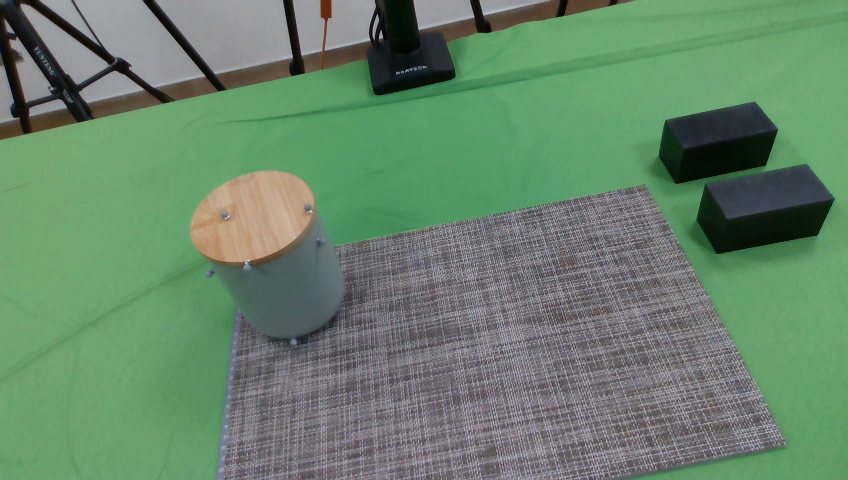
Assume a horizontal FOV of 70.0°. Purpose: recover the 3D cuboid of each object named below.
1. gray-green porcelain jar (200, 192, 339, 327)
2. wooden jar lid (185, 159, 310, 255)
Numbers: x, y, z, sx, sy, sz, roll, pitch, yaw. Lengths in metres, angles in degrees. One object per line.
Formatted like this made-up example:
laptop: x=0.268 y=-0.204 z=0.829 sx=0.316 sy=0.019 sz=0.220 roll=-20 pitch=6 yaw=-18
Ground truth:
gray-green porcelain jar: x=-0.142 y=0.013 z=0.576 sx=0.106 sy=0.128 sz=0.105 roll=-5 pitch=49 yaw=6
wooden jar lid: x=-0.152 y=-0.027 z=0.530 sx=0.108 sy=0.021 sz=0.107 roll=-3 pitch=52 yaw=4
